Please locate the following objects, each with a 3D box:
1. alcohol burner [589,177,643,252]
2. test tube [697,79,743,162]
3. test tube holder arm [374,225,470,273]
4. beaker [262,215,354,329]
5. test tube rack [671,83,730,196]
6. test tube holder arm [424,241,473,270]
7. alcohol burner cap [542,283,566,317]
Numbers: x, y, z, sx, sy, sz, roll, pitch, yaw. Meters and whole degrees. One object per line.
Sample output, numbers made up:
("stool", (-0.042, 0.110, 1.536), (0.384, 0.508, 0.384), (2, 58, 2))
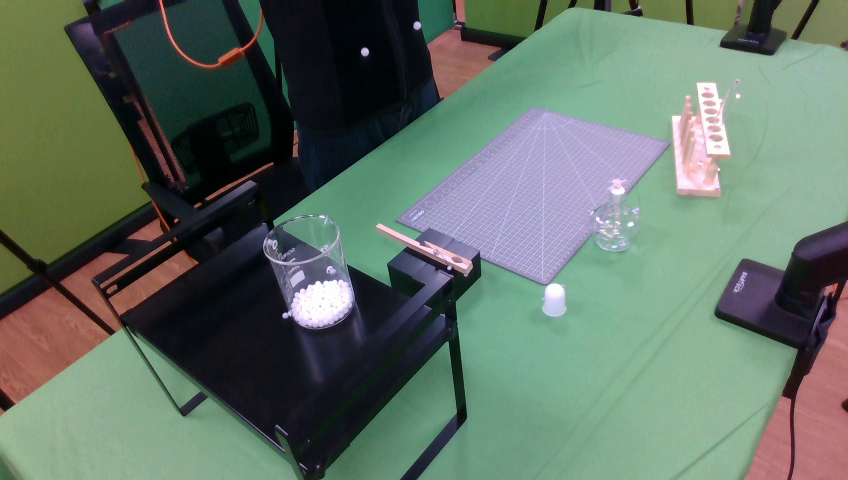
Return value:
("alcohol burner", (0.290, -0.042, 0.910), (0.078, 0.119, 0.077), (-6, 40, 5))
("test tube", (0.486, -0.194, 0.998), (0.017, 0.150, 0.017), (5, 40, -4))
("test tube holder arm", (-0.006, 0.012, 0.893), (0.177, 0.015, 0.013), (21, 50, 32))
("beaker", (-0.112, 0.034, 0.616), (0.073, 0.101, 0.084), (13, 44, 23))
("test tube rack", (0.482, -0.184, 1.067), (0.066, 0.085, 0.242), (5, 42, 15))
("test tube holder arm", (0.033, 0.022, 0.872), (0.087, 0.015, 0.010), (22, 50, 32))
("alcohol burner cap", (0.181, 0.080, 0.839), (0.034, 0.048, 0.033), (-4, 40, 4))
